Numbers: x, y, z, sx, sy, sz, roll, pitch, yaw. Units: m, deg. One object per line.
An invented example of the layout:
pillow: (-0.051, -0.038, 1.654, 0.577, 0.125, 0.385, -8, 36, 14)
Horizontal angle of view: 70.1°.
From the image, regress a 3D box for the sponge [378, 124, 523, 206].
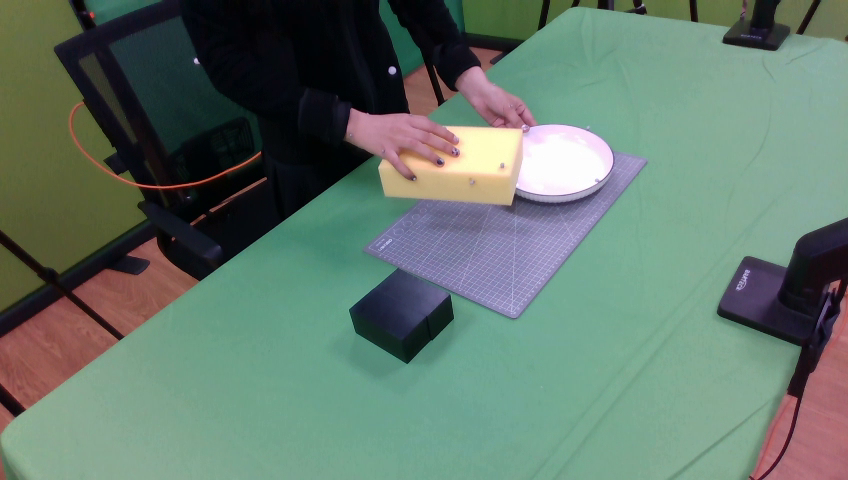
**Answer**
sponge: (0.046, -0.121, 0.956, 0.206, 0.061, 0.118, 5, 47, 14)

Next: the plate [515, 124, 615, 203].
plate: (0.228, -0.133, 1.071, 0.209, 0.038, 0.208, -4, 45, 4)
